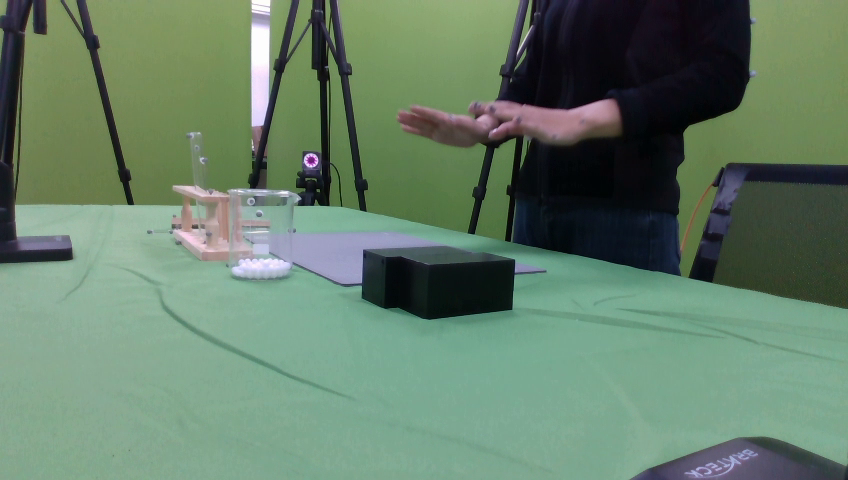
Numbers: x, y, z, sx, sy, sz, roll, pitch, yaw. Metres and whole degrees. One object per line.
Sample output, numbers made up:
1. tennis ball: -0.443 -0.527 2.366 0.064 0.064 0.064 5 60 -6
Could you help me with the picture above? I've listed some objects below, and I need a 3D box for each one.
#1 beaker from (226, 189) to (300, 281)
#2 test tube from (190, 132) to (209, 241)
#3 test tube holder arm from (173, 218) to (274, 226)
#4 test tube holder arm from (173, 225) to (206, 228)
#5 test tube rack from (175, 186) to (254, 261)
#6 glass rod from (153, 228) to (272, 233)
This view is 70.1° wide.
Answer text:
1. beaker: -0.184 -0.007 0.694 0.084 0.100 0.073 -1 8 -29
2. test tube: -0.308 -0.074 0.840 0.017 0.150 0.017 -4 6 1
3. test tube holder arm: -0.371 -0.033 1.127 0.179 0.015 0.013 -1 -21 -25
4. test tube holder arm: -0.414 -0.030 1.113 0.088 0.015 0.010 -1 -21 -25
5. test tube rack: -0.314 -0.030 0.889 0.067 0.085 0.241 -2 8 -30
6. glass rod: -0.368 -0.017 1.065 0.201 0.008 0.008 -2 8 -27
